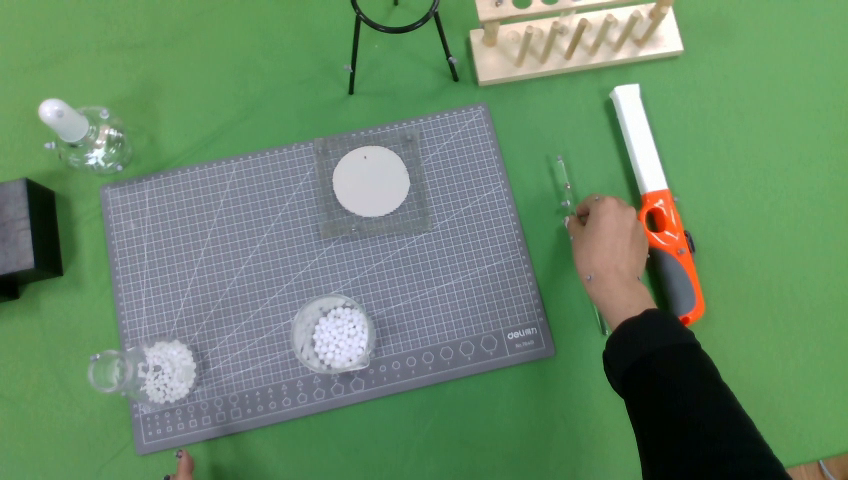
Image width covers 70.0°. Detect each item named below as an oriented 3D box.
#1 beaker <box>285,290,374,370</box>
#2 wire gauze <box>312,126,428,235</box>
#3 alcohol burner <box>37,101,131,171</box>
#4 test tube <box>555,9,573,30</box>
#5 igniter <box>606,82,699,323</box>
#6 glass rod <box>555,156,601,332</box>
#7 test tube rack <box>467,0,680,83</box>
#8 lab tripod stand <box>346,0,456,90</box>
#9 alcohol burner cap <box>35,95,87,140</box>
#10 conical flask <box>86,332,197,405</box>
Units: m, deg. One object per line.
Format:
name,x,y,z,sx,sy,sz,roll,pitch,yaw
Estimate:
beaker,-0.086,0.094,0.603,0.084,0.100,0.074,40,81,7
wire gauze,-0.062,-0.067,0.682,0.125,0.011,0.121,-5,79,-4
alcohol burner,-0.363,-0.116,0.638,0.078,0.119,0.077,0,80,1
test tube,0.156,-0.265,0.636,0.017,0.151,0.017,0,78,3
igniter,0.253,-0.045,0.673,0.057,0.025,0.275,-9,79,-12
glass rod,0.170,0.003,0.669,0.008,0.008,0.199,-12,84,-3
test tube rack,0.175,-0.243,0.682,0.242,0.085,0.066,-9,78,-2
lab tripod stand,-0.032,-0.231,0.654,0.148,0.132,0.148,0,81,0
alcohol burner cap,-0.364,-0.125,0.604,0.034,0.048,0.033,0,72,0
conical flask,-0.275,0.124,0.584,0.075,0.122,0.075,0,78,0
